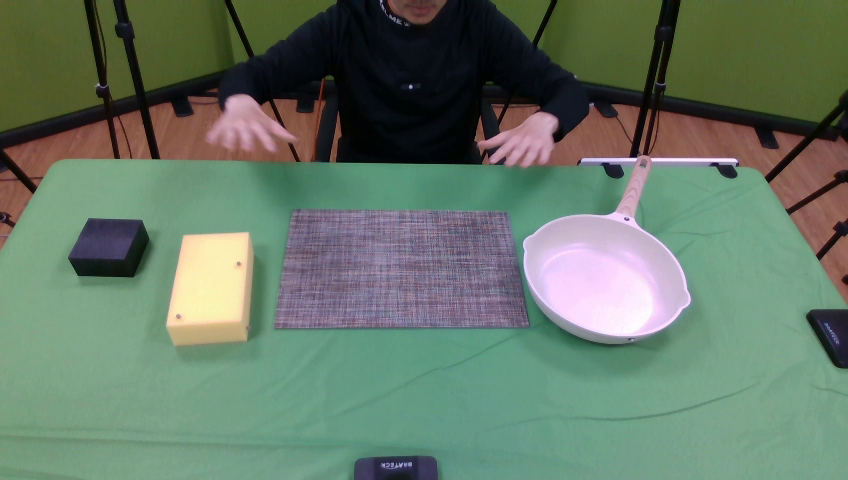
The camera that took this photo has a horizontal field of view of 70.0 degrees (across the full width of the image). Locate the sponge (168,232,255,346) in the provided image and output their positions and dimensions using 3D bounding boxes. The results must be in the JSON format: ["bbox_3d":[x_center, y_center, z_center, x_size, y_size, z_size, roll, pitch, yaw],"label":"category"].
[{"bbox_3d":[-0.368,0.081,1.065,0.118,0.061,0.205,-4,46,-7],"label":"sponge"}]

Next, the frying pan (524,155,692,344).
[{"bbox_3d":[0.372,-0.002,1.167,0.306,0.103,0.486,22,57,16],"label":"frying pan"}]
